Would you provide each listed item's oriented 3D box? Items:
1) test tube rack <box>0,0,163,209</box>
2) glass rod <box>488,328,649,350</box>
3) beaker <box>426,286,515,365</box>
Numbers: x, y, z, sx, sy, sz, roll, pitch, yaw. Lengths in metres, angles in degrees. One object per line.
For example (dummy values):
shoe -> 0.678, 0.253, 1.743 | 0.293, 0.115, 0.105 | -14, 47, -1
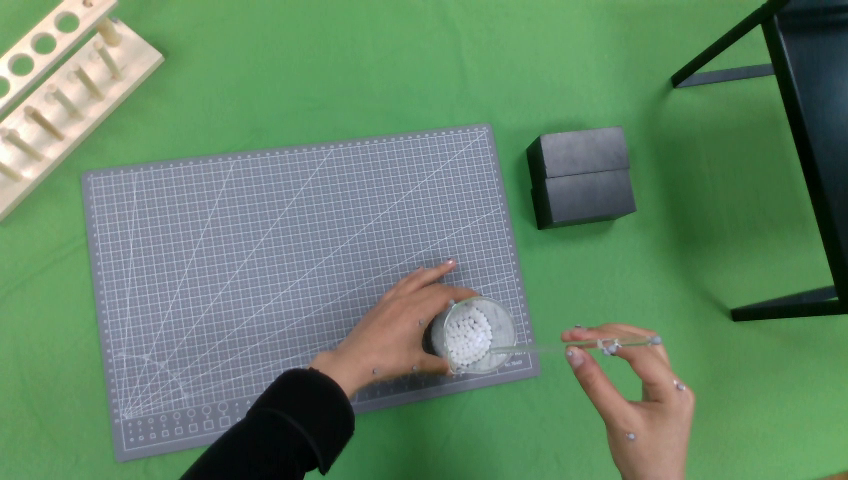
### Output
test tube rack -> -0.378, -0.144, 0.594 | 0.067, 0.085, 0.242 | 40, 78, -2
glass rod -> 0.100, 0.079, 0.472 | 0.008, 0.199, 0.008 | 6, 76, -24
beaker -> 0.042, 0.092, 0.628 | 0.074, 0.100, 0.084 | 37, 78, -2
